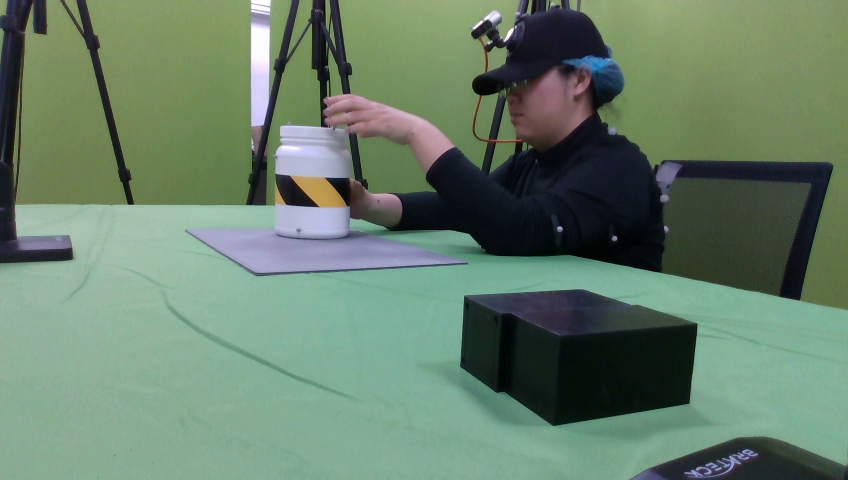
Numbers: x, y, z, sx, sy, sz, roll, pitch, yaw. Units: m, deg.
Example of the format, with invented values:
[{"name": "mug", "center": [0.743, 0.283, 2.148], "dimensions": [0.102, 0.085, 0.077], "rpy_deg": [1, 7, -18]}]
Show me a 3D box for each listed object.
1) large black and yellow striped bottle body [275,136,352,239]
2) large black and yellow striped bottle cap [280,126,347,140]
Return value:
[{"name": "large black and yellow striped bottle body", "center": [-0.193, -0.099, 1.058], "dimensions": [0.131, 0.184, 0.130], "rpy_deg": [3, 8, 0]}, {"name": "large black and yellow striped bottle cap", "center": [-0.191, -0.184, 1.046], "dimensions": [0.115, 0.019, 0.115], "rpy_deg": [3, 6, 0]}]
